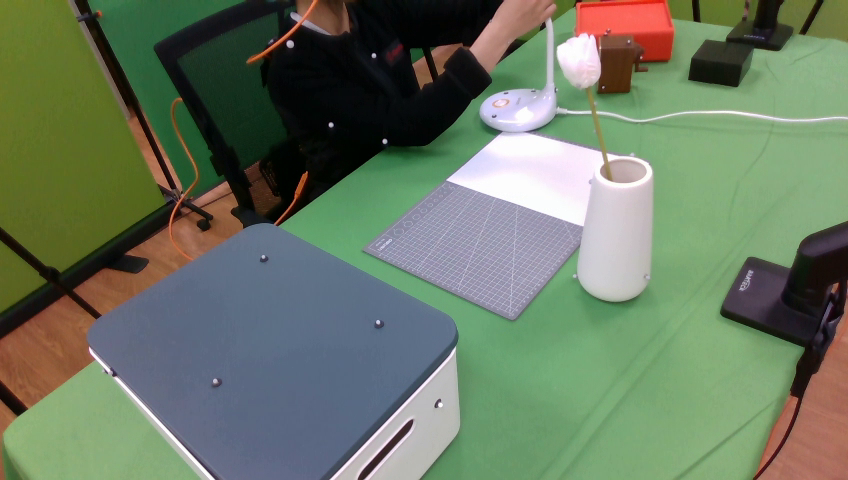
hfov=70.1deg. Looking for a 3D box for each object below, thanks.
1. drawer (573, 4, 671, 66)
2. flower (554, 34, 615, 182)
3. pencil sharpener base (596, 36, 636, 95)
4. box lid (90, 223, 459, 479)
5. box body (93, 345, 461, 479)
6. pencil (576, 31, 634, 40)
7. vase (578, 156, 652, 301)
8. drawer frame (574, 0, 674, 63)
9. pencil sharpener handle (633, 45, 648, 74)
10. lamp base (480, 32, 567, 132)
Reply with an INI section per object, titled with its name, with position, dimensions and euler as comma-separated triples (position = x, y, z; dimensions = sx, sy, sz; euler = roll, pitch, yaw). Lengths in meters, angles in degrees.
[drawer]
position = 0.461, -0.490, 1.435
dimensions = 0.211, 0.073, 0.194
euler = 2, 41, 12
[flower]
position = 0.237, -0.083, 0.774
dimensions = 0.044, 0.363, 0.038
euler = -22, 26, 7
[pencil sharpener base]
position = 0.406, -0.369, 1.280
dimensions = 0.076, 0.107, 0.061
euler = 1, 41, 13
[box lid]
position = -0.174, 0.102, 0.666
dimensions = 0.368, 0.015, 0.264
euler = 24, 48, 35
[box body]
position = -0.162, 0.170, 0.708
dimensions = 0.361, 0.161, 0.255
euler = 25, 50, 34
[pencil]
position = 0.430, -0.487, 1.444
dimensions = 0.012, 0.012, 0.192
euler = -25, 31, -18
[vase]
position = 0.261, -0.011, 0.812
dimensions = 0.098, 0.201, 0.097
euler = -4, 40, 4
[drawer frame]
position = 0.464, -0.492, 1.434
dimensions = 0.213, 0.083, 0.201
euler = 1, 40, 12
[pencil sharpener handle]
position = 0.454, -0.378, 1.262
dimensions = 0.030, 0.068, 0.036
euler = 1, 46, 13
[lamp base]
position = 0.202, -0.331, 1.217
dimensions = 0.179, 0.181, 0.160
euler = 2, 41, 8
